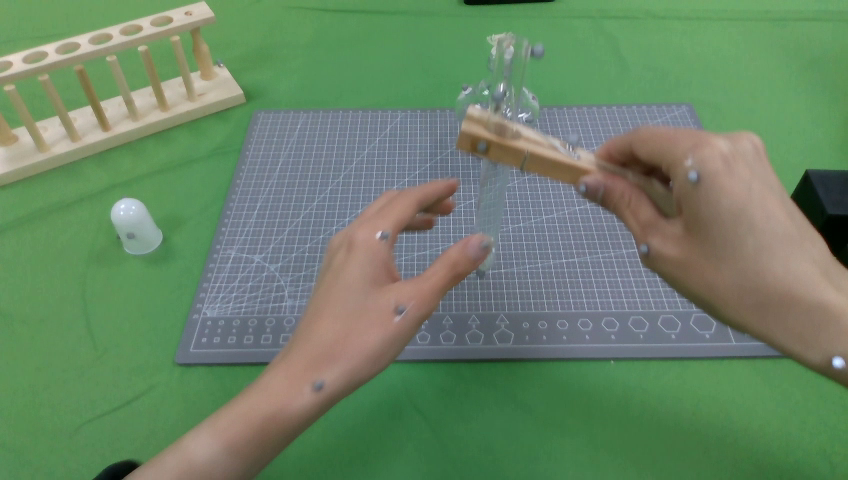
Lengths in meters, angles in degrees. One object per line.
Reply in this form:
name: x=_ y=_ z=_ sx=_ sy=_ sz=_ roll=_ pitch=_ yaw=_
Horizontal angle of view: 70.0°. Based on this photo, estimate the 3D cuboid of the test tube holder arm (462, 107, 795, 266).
test tube holder arm: x=0.102 y=-0.028 z=0.311 sx=0.178 sy=0.015 sz=0.013 roll=23 pitch=50 yaw=4

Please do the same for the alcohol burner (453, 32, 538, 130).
alcohol burner: x=0.065 y=-0.133 z=0.545 sx=0.078 sy=0.120 sz=0.077 roll=0 pitch=50 yaw=0

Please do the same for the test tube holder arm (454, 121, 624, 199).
test tube holder arm: x=0.058 y=-0.040 z=0.309 sx=0.088 sy=0.015 sz=0.010 roll=17 pitch=49 yaw=-1

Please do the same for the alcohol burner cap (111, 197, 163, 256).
alcohol burner cap: x=-0.239 y=-0.014 z=0.499 sx=0.034 sy=0.048 sz=0.033 roll=0 pitch=48 yaw=0

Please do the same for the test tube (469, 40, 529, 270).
test tube: x=0.038 y=-0.036 z=0.329 sx=0.017 sy=0.151 sz=0.017 roll=1 pitch=46 yaw=-1

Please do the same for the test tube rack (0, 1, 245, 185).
test tube rack: x=-0.310 y=-0.146 z=0.587 sx=0.242 sy=0.086 sz=0.066 roll=-25 pitch=53 yaw=-19
